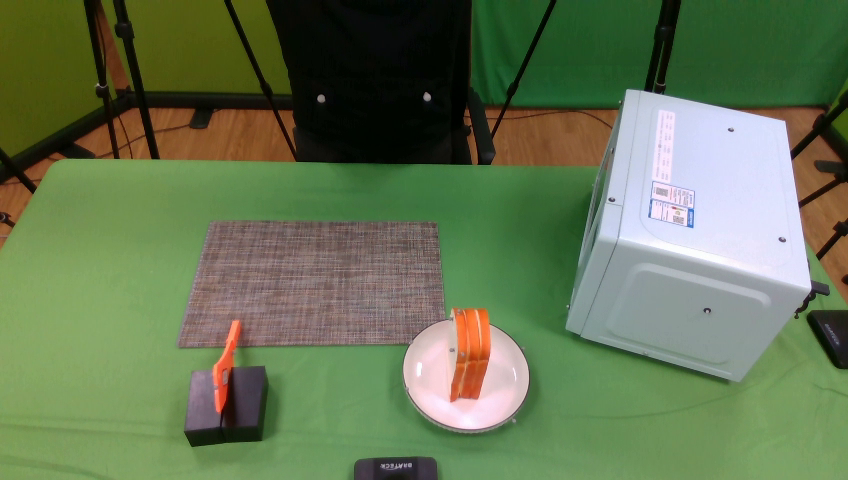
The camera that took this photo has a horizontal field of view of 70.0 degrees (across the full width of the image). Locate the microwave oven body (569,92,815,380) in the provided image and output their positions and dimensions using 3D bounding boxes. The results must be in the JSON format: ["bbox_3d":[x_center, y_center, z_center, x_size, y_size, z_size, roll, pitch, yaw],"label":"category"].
[{"bbox_3d":[0.468,-0.021,1.082,0.325,0.261,0.440,15,46,11],"label":"microwave oven body"}]

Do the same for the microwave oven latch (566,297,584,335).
[{"bbox_3d":[0.268,0.126,1.059,0.030,0.029,0.079,16,46,12],"label":"microwave oven latch"}]

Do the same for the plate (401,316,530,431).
[{"bbox_3d":[0.066,0.217,0.982,0.208,0.039,0.206,2,46,-2],"label":"plate"}]

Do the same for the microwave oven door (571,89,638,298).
[{"bbox_3d":[0.343,-0.091,1.133,0.039,0.245,0.354,15,47,10],"label":"microwave oven door"}]

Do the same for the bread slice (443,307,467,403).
[{"bbox_3d":[0.048,0.171,0.948,0.018,0.135,0.106,0,42,-7],"label":"bread slice"}]

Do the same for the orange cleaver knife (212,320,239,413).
[{"bbox_3d":[-0.306,0.190,0.944,0.012,0.077,0.210,-5,17,-7],"label":"orange cleaver knife"}]
